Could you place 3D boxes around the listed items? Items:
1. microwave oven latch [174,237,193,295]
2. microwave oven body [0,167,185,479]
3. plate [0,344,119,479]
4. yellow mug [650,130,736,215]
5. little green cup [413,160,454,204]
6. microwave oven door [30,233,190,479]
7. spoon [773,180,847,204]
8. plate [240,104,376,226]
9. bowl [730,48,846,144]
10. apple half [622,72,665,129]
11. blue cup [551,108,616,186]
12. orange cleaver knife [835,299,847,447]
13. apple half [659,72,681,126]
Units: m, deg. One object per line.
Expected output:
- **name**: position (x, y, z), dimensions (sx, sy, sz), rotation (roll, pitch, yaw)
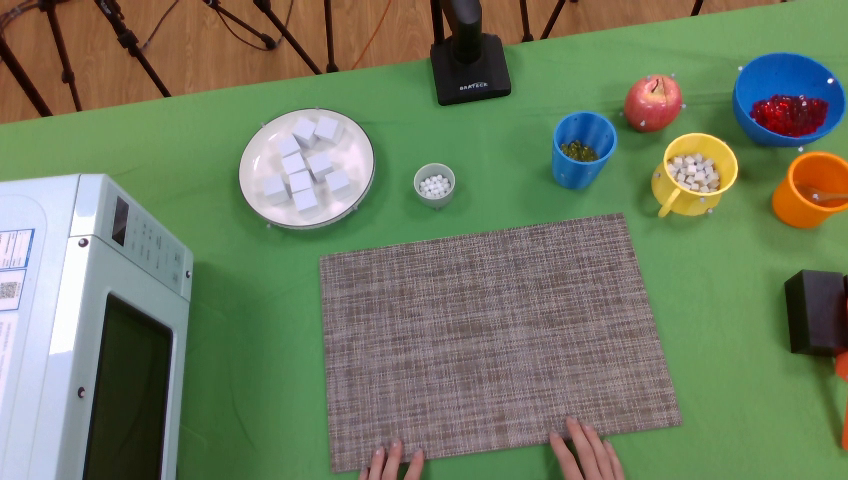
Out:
- **microwave oven latch**: position (-0.348, 0.038, 0.859), dimensions (0.030, 0.030, 0.078), rotation (-3, 68, 3)
- **microwave oven body**: position (-0.491, 0.176, 0.708), dimensions (0.326, 0.262, 0.438), rotation (-5, 68, 2)
- **plate**: position (-0.473, 0.232, 0.740), dimensions (0.209, 0.038, 0.207), rotation (-1, 68, 3)
- **yellow mug**: position (0.371, -0.086, 0.861), dimensions (0.099, 0.064, 0.130), rotation (38, 76, 18)
- **little green cup**: position (0.015, -0.084, 0.903), dimensions (0.061, 0.039, 0.061), rotation (-2, 67, 4)
- **microwave oven door**: position (-0.343, 0.200, 0.682), dimensions (0.039, 0.245, 0.353), rotation (-6, 67, 2)
- **spoon**: position (0.554, -0.058, 0.791), dimensions (0.041, 0.192, 0.022), rotation (-48, 116, -14)
- **plate**: position (-0.175, -0.113, 0.929), dimensions (0.207, 0.039, 0.206), rotation (-1, 67, 4)
- **bowl**: position (0.518, -0.196, 0.889), dimensions (0.151, 0.077, 0.150), rotation (-2, 68, 4)
- **apple half**: position (0.326, -0.207, 0.911), dimensions (0.053, 0.075, 0.080), rotation (-4, 70, 6)
- **blue cup**: position (0.221, -0.125, 0.870), dimensions (0.092, 0.101, 0.092), rotation (-1, 69, 3)
- **orange cleaver knife**: position (0.527, 0.146, 0.745), dimensions (0.012, 0.077, 0.211), rotation (5, 98, 9)
- **apple half**: position (0.365, -0.210, 0.907), dimensions (0.033, 0.082, 0.080), rotation (-3, 67, 6)
